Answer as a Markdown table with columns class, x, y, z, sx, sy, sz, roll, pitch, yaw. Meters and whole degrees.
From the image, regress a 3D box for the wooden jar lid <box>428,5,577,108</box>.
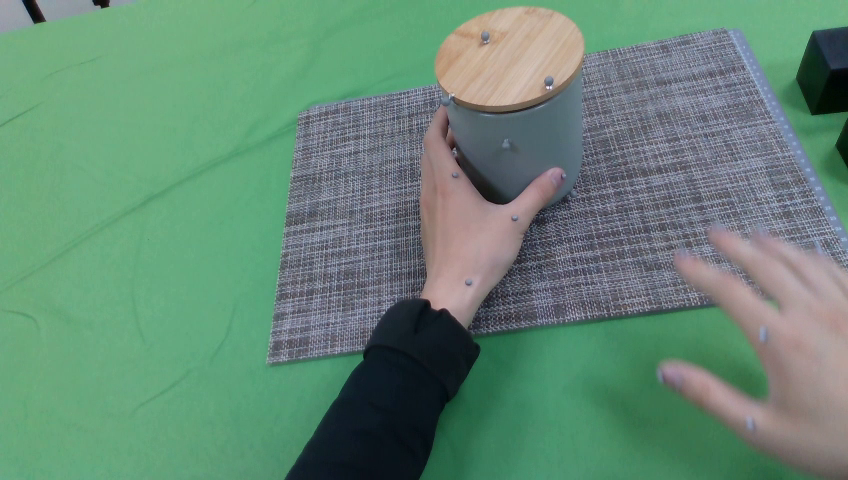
| class | x | y | z | sx | sy | sz | roll | pitch | yaw |
| --- | --- | --- | --- | --- | --- | --- | --- | --- | --- |
| wooden jar lid | 0.057 | -0.132 | 0.445 | 0.108 | 0.021 | 0.107 | -6 | 56 | 10 |

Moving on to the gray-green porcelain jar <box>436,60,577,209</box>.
| class | x | y | z | sx | sy | sz | roll | pitch | yaw |
| --- | --- | --- | --- | --- | --- | --- | --- | --- | --- |
| gray-green porcelain jar | 0.071 | -0.096 | 0.497 | 0.106 | 0.128 | 0.105 | -7 | 54 | 10 |
